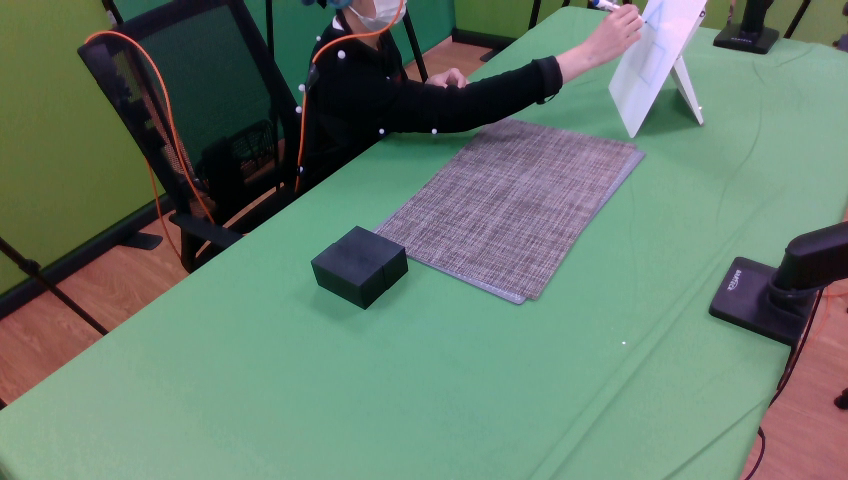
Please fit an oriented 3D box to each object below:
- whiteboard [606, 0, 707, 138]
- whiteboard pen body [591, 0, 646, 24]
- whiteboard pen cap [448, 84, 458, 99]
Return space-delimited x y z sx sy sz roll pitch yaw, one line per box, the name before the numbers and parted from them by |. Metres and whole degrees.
whiteboard | 0.496 -0.358 1.147 0.144 0.305 0.216 11 40 -7
whiteboard pen body | 0.370 -0.428 1.139 0.142 0.017 0.017 7 32 -30
whiteboard pen cap | 0.060 -0.310 1.262 0.018 0.018 0.033 7 46 16
